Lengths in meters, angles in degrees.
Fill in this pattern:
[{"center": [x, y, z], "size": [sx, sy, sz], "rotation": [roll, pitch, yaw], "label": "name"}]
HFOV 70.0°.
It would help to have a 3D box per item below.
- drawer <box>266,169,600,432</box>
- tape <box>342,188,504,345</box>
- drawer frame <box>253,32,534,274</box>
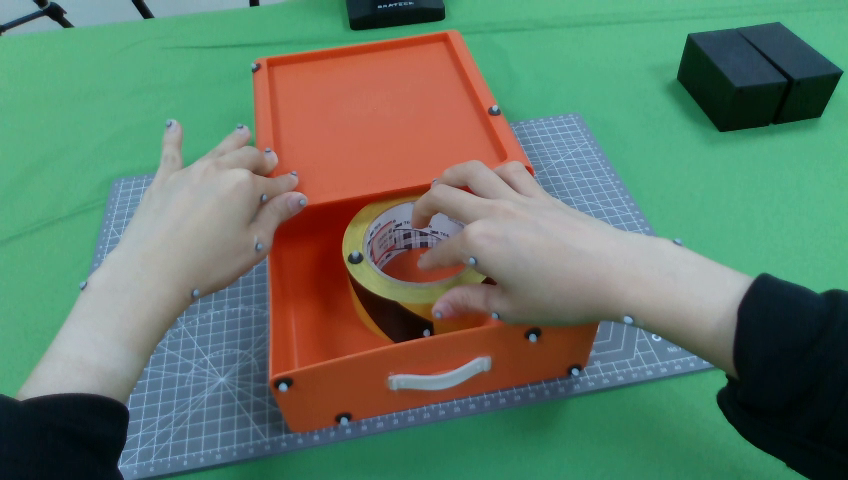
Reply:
[{"center": [-0.010, 0.012, 0.433], "size": [0.195, 0.074, 0.209], "rotation": [-11, 46, -6], "label": "drawer"}, {"center": [-0.001, 0.018, 0.435], "size": [0.117, 0.053, 0.115], "rotation": [-1, 47, 1], "label": "tape"}, {"center": [-0.037, -0.080, 0.518], "size": [0.202, 0.083, 0.211], "rotation": [-12, 46, -7], "label": "drawer frame"}]
